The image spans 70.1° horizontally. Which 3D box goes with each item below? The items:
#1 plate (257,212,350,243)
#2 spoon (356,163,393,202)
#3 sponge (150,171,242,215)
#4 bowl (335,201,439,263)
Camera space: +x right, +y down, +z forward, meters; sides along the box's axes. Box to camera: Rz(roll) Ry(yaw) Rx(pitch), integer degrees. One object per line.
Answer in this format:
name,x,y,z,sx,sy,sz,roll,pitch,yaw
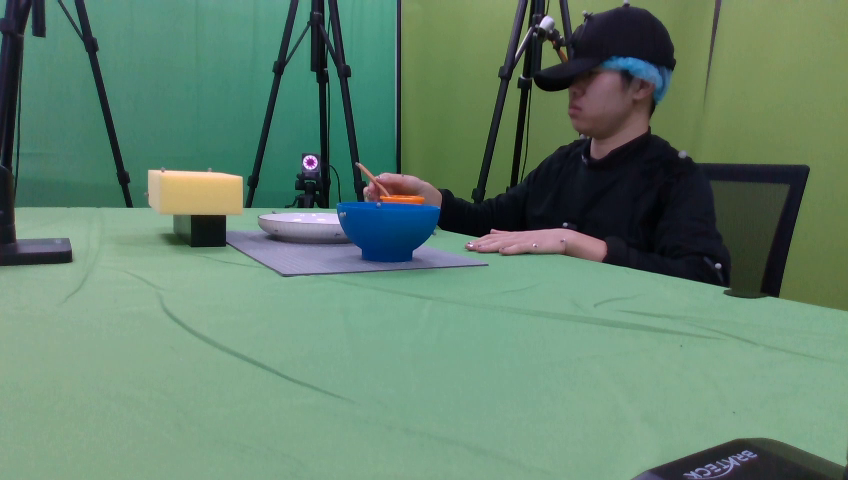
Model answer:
plate,-0.189,-0.023,1.072,0.209,0.038,0.209,3,7,0
spoon,-0.079,-0.089,1.233,0.021,0.193,0.042,-43,-16,26
sponge,-0.379,-0.079,0.994,0.119,0.061,0.206,-1,8,-29
bowl,-0.054,-0.012,0.871,0.151,0.077,0.151,3,8,0
